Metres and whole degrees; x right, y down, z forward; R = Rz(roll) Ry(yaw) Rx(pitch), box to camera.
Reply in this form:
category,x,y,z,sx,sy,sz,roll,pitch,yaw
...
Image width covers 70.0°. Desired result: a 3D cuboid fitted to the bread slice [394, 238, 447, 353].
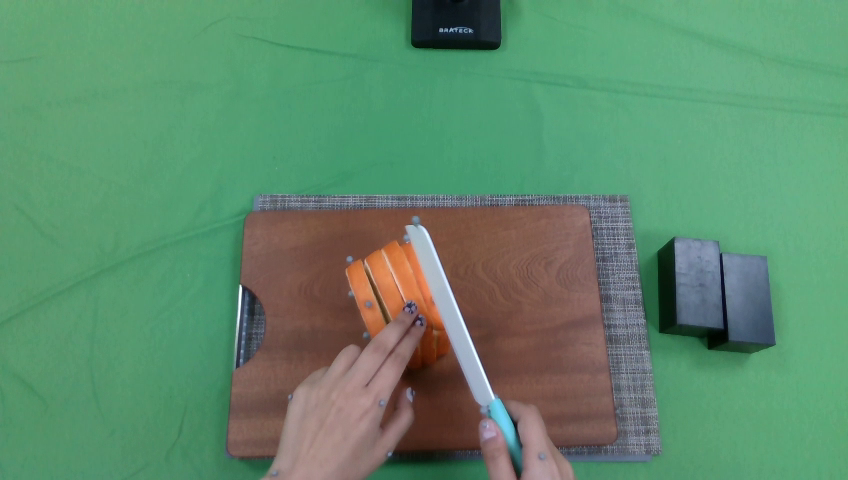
category,x,y,z,sx,sy,sz,roll,pitch,yaw
bread slice,-0.003,0.056,0.602,0.018,0.135,0.106,-22,76,-9

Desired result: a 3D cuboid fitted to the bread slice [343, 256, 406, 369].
category,x,y,z,sx,sy,sz,roll,pitch,yaw
bread slice,-0.050,0.071,0.597,0.019,0.132,0.104,-24,71,-3

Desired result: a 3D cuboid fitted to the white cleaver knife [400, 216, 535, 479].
category,x,y,z,sx,sy,sz,roll,pitch,yaw
white cleaver knife,0.042,0.112,0.491,0.021,0.065,0.286,-22,93,-12
